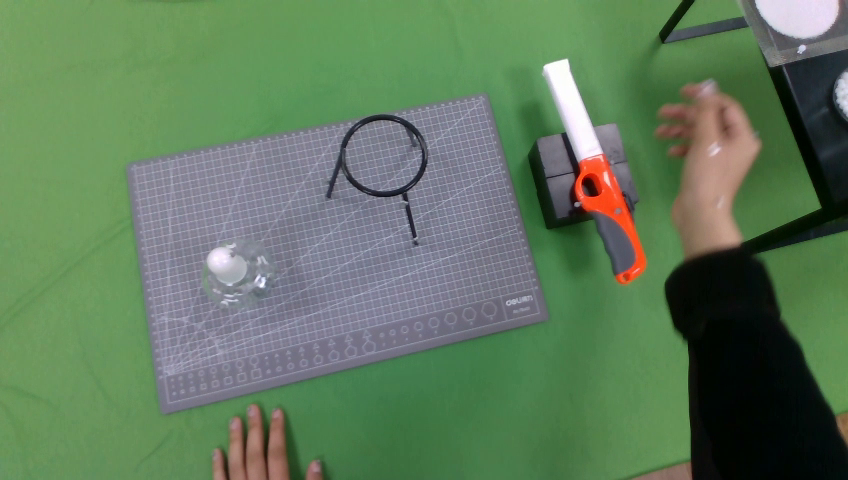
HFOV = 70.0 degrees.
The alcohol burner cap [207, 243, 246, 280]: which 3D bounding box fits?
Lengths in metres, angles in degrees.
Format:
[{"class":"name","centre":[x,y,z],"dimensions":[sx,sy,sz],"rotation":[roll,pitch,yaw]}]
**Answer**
[{"class":"alcohol burner cap","centre":[-0.203,0.019,0.616],"dimensions":[0.034,0.048,0.033],"rotation":[1,70,-2]}]

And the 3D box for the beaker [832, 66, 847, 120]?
[{"class":"beaker","centre":[0.436,-0.154,0.554],"dimensions":[0.084,0.100,0.074],"rotation":[43,78,7]}]

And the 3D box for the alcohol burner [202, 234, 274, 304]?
[{"class":"alcohol burner","centre":[-0.204,0.029,0.651],"dimensions":[0.078,0.119,0.077],"rotation":[1,79,-2]}]

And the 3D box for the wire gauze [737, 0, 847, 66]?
[{"class":"wire gauze","centre":[0.383,-0.244,0.618],"dimensions":[0.125,0.011,0.121],"rotation":[-16,82,-4]}]

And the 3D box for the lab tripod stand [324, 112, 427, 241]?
[{"class":"lab tripod stand","centre":[-0.044,-0.078,0.673],"dimensions":[0.148,0.132,0.147],"rotation":[1,76,-2]}]

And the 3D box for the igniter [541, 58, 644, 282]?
[{"class":"igniter","centre":[0.193,-0.085,0.698],"dimensions":[0.057,0.025,0.275],"rotation":[-15,76,-6]}]
